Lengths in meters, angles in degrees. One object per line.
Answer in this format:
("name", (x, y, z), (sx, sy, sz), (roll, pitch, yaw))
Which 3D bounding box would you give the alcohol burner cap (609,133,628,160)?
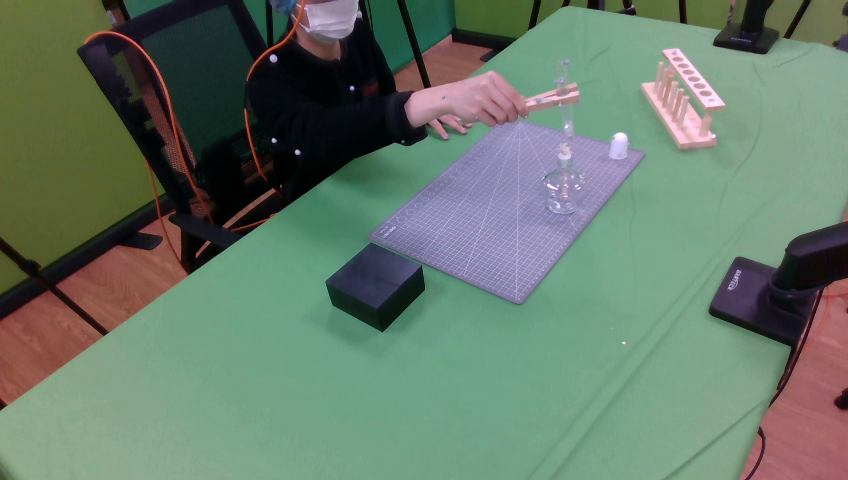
("alcohol burner cap", (0.356, -0.172, 1.101), (0.034, 0.048, 0.033), (-5, 41, 5))

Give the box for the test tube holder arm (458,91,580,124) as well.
("test tube holder arm", (0.135, -0.193, 0.880), (0.178, 0.015, 0.013), (-9, 58, 17))

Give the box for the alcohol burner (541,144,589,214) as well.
("alcohol burner", (0.229, -0.102, 0.983), (0.078, 0.119, 0.077), (-6, 41, 5))

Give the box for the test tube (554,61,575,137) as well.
("test tube", (0.205, -0.200, 0.876), (0.017, 0.151, 0.017), (-9, 58, 15))

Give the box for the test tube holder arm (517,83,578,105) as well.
("test tube holder arm", (0.178, -0.206, 0.871), (0.087, 0.015, 0.010), (-17, 56, 12))

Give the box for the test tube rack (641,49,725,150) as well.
("test tube rack", (0.495, -0.279, 1.175), (0.067, 0.085, 0.241), (-5, 41, 3))
